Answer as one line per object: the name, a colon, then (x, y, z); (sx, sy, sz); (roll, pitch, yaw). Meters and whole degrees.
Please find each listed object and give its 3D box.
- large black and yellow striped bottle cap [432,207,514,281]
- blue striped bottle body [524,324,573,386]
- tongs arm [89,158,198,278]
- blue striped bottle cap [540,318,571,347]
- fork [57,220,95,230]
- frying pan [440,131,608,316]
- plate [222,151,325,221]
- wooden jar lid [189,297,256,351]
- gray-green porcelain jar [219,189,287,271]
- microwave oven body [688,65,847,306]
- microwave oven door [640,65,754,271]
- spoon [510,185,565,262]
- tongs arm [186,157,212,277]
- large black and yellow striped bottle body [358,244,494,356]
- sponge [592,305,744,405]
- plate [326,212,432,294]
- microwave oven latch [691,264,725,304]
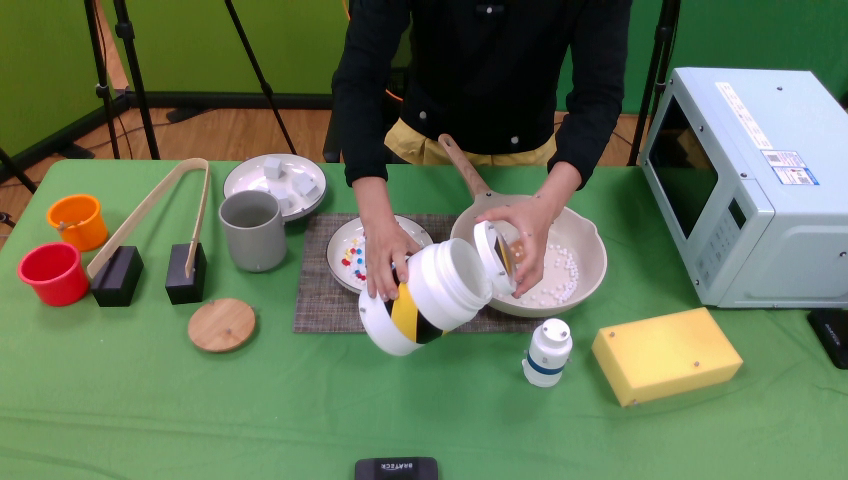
large black and yellow striped bottle cap: (0.068, 0.004, 0.844); (0.115, 0.019, 0.114); (-5, 56, 8)
blue striped bottle body: (0.201, 0.178, 0.969); (0.063, 0.121, 0.062); (2, 47, -2)
tongs arm: (-0.529, -0.057, 1.164); (0.028, 0.028, 0.385); (1, 36, 8)
blue striped bottle cap: (0.203, 0.142, 0.933); (0.044, 0.021, 0.044); (3, 49, -3)
fork: (-0.624, -0.027, 1.086); (0.028, 0.207, 0.018); (-3, 92, -17)
frying pan: (0.149, -0.050, 1.189); (0.307, 0.103, 0.484); (-16, 57, -20)
plate: (-0.310, -0.106, 1.262); (0.208, 0.039, 0.206); (2, 47, -2)
wooden jar lid: (-0.342, 0.145, 1.033); (0.108, 0.021, 0.107); (3, 45, -2)
gray-green porcelain jar: (-0.309, -0.014, 1.113); (0.106, 0.127, 0.105); (2, 46, -2)
microwave oven body: (0.669, -0.111, 1.176); (0.326, 0.261, 0.439); (0, 46, -3)
microwave oven door: (0.524, -0.148, 1.193); (0.039, 0.245, 0.353); (0, 47, -3)
spoon: (0.224, -0.034, 1.188); (0.041, 0.022, 0.193); (30, 79, 29)
tongs arm: (-0.445, -0.058, 1.168); (0.051, 0.026, 0.382); (-5, 37, -6)
large black and yellow striped bottle body: (0.004, 0.085, 0.935); (0.184, 0.131, 0.130); (-33, 36, 28)
sponge: (0.405, 0.189, 1.015); (0.207, 0.061, 0.117); (-10, 48, -12)
plate: (-0.080, 0.030, 1.143); (0.209, 0.038, 0.208); (3, 46, -3)
microwave oven latch: (0.521, 0.081, 1.116); (0.030, 0.029, 0.078); (0, 46, -3)
